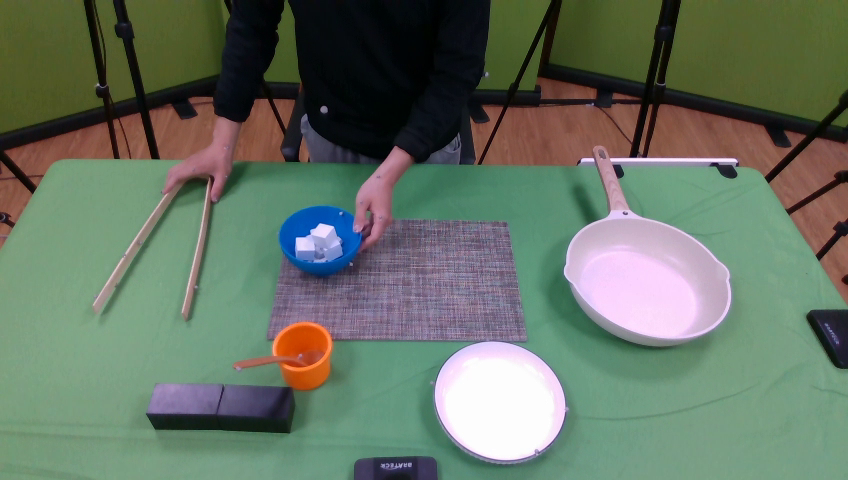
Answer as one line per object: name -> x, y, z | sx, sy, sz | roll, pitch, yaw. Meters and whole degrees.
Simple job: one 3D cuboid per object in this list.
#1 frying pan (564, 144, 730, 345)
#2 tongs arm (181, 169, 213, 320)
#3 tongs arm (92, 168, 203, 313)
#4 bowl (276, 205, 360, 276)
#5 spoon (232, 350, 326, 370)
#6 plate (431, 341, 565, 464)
frying pan -> 0.396, -0.008, 1.179 | 0.307, 0.103, 0.484 | 0, 55, -5
tongs arm -> -0.437, -0.006, 1.165 | 0.028, 0.028, 0.385 | -5, 46, -5
tongs arm -> -0.517, -0.013, 1.160 | 0.051, 0.026, 0.382 | 7, 45, 1
bowl -> -0.193, 0.013, 1.125 | 0.151, 0.077, 0.150 | 2, 47, -2
spoon -> -0.216, 0.182, 0.919 | 0.041, 0.194, 0.021 | 43, 102, 27
plate -> 0.114, 0.255, 0.951 | 0.208, 0.039, 0.206 | 3, 46, -2
